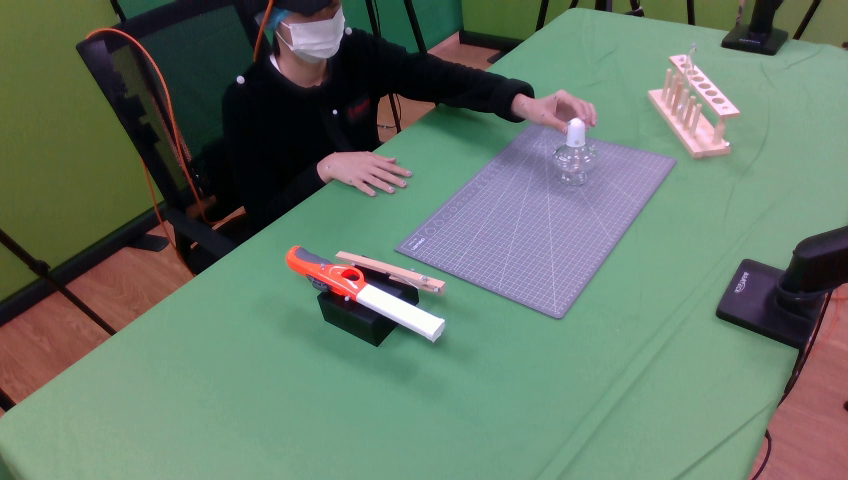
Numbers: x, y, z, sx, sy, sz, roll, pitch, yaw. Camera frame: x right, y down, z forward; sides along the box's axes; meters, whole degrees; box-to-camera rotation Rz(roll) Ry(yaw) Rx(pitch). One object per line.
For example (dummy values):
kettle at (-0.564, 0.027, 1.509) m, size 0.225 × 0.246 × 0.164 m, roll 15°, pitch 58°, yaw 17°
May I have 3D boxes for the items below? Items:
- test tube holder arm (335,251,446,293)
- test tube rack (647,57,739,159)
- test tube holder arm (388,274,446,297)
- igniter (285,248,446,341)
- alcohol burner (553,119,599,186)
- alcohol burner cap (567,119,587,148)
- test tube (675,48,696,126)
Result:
test tube holder arm at (-0.050, 0.043, 0.853) m, size 0.177 × 0.013 × 0.015 m, roll 17°, pitch 39°, yaw 24°
test tube rack at (0.504, -0.257, 1.153) m, size 0.067 × 0.085 × 0.241 m, roll -8°, pitch 40°, yaw 1°
test tube holder arm at (-0.011, 0.060, 0.838) m, size 0.087 × 0.010 × 0.015 m, roll 18°, pitch 39°, yaw 24°
igniter at (-0.091, 0.069, 0.831) m, size 0.274 × 0.025 × 0.057 m, roll 22°, pitch 47°, yaw 27°
alcohol burner at (0.261, -0.153, 1.042) m, size 0.078 × 0.119 × 0.077 m, roll -6°, pitch 40°, yaw 6°
alcohol burner cap at (0.258, -0.181, 1.018) m, size 0.034 × 0.048 × 0.033 m, roll -6°, pitch 36°, yaw 5°
test tube at (0.481, -0.279, 1.112) m, size 0.017 × 0.151 × 0.017 m, roll -5°, pitch 40°, yaw 5°
